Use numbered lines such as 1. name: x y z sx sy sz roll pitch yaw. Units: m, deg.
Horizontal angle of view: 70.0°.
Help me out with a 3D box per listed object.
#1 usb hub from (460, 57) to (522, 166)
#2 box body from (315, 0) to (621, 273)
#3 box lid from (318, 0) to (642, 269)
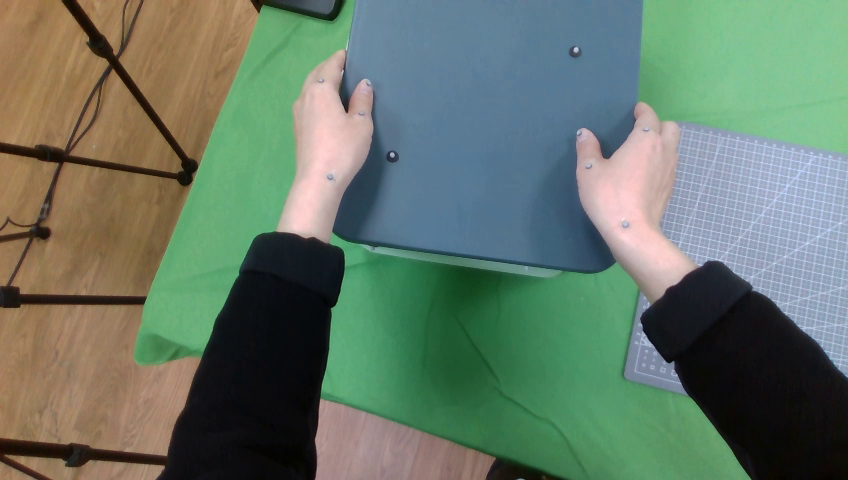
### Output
1. usb hub: 0.078 -0.149 0.699 0.049 0.025 0.124 11 78 11
2. box body: 0.057 -0.158 0.643 0.254 0.161 0.362 8 80 7
3. box lid: 0.060 -0.164 0.544 0.263 0.015 0.370 8 79 1
